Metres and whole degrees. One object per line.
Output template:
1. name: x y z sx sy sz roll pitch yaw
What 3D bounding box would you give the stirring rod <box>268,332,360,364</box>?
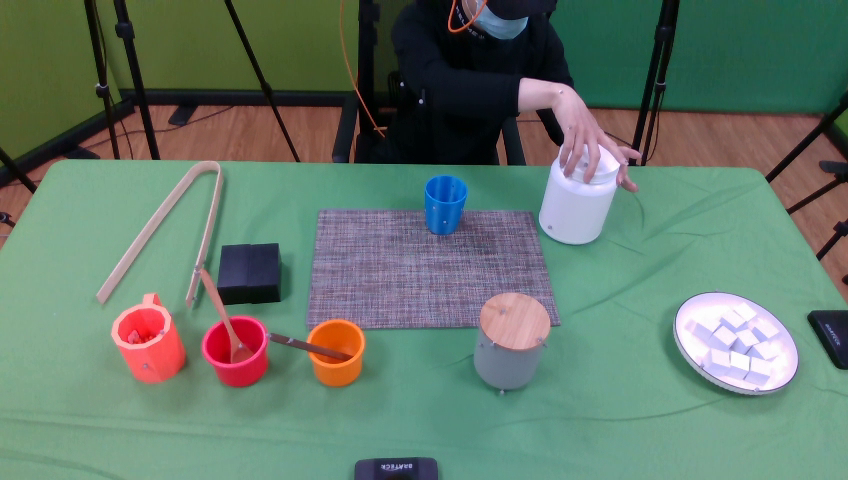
1. stirring rod: -0.167 0.169 0.942 0.177 0.006 0.014 26 26 -41

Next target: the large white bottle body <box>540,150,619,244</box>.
1. large white bottle body: 0.308 -0.096 1.198 0.131 0.185 0.130 2 46 -1

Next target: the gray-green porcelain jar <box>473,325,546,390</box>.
1. gray-green porcelain jar: 0.135 0.170 0.969 0.106 0.127 0.105 2 46 -2

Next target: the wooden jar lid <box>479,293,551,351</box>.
1. wooden jar lid: 0.137 0.127 0.925 0.108 0.021 0.107 1 47 -1

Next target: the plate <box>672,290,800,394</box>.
1. plate: 0.533 0.178 1.050 0.208 0.039 0.206 2 46 -2

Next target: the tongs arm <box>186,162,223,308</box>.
1. tongs arm: -0.436 -0.024 1.181 0.051 0.026 0.382 -2 45 0

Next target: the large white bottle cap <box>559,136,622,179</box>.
1. large white bottle cap: 0.312 -0.156 1.137 0.115 0.018 0.114 2 46 -2

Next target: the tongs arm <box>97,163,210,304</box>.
1. tongs arm: -0.520 -0.028 1.183 0.028 0.028 0.385 5 45 12

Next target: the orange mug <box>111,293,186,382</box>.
1. orange mug: -0.435 0.149 0.969 0.083 0.101 0.125 -5 51 -8

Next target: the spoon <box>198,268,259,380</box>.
1. spoon: -0.312 0.132 0.962 0.041 0.021 0.194 -24 96 -22

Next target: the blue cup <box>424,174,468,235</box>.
1. blue cup: 0.039 -0.065 1.201 0.093 0.101 0.092 3 47 -3
